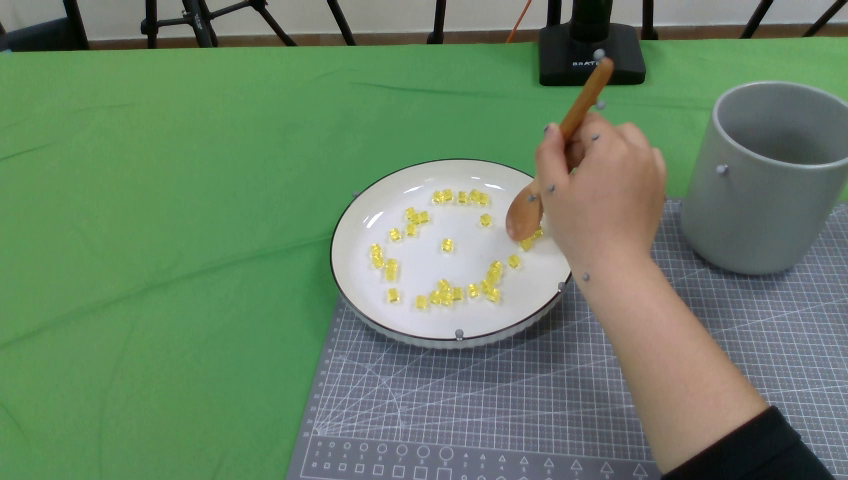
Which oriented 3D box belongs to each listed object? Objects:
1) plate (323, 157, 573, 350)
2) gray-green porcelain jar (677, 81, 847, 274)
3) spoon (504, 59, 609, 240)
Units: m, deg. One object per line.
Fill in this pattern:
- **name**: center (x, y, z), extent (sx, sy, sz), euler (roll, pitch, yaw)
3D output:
- **plate**: center (0.020, 0.010, 0.519), extent (0.207, 0.039, 0.205), euler (-2, 47, 3)
- **gray-green porcelain jar**: center (0.265, -0.044, 0.482), extent (0.106, 0.128, 0.105), euler (-3, 47, 4)
- **spoon**: center (0.095, -0.059, 0.458), extent (0.022, 0.195, 0.041), euler (-6, 61, -12)
